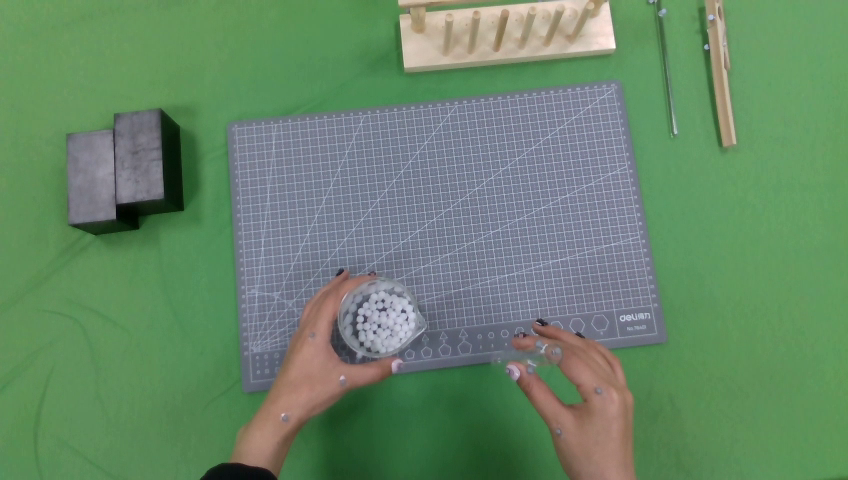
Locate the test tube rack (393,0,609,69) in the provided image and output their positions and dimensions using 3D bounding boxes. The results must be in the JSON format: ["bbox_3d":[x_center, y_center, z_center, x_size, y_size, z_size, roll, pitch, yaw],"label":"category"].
[{"bbox_3d":[0.089,-0.249,0.666,0.242,0.085,0.066,-5,80,-1],"label":"test tube rack"}]

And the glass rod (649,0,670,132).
[{"bbox_3d":[0.270,-0.219,0.700,0.008,0.008,0.199,-2,80,-1],"label":"glass rod"}]

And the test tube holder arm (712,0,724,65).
[{"bbox_3d":[0.334,-0.242,0.699,0.010,0.015,0.087,5,78,-29],"label":"test tube holder arm"}]

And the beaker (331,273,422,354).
[{"bbox_3d":[-0.042,0.076,0.600,0.084,0.100,0.073,11,80,2],"label":"beaker"}]

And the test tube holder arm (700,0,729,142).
[{"bbox_3d":[0.330,-0.198,0.688,0.013,0.015,0.177,5,79,-29],"label":"test tube holder arm"}]

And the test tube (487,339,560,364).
[{"bbox_3d":[0.079,0.095,0.509,0.017,0.150,0.017,2,77,-10],"label":"test tube"}]
